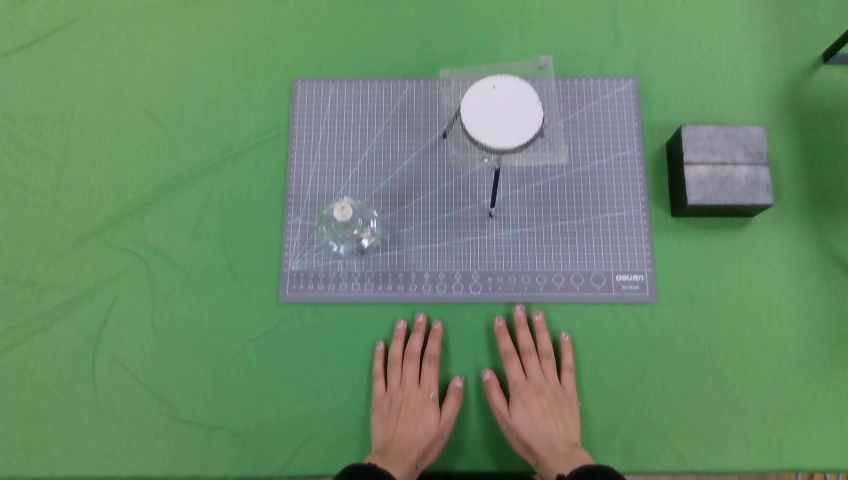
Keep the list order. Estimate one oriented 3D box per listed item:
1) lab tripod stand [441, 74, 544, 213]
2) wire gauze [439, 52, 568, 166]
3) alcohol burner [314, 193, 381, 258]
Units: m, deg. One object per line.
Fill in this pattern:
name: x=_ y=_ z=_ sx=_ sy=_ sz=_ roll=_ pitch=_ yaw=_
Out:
lab tripod stand: x=0.085 y=-0.122 z=0.698 sx=0.148 sy=0.132 sz=0.147 roll=0 pitch=74 yaw=1
wire gauze: x=0.082 y=-0.136 z=0.633 sx=0.125 sy=0.011 sz=0.121 roll=-5 pitch=76 yaw=-1
alcohol burner: x=-0.088 y=-0.021 z=0.686 sx=0.078 sy=0.119 sz=0.077 roll=0 pitch=74 yaw=-1
